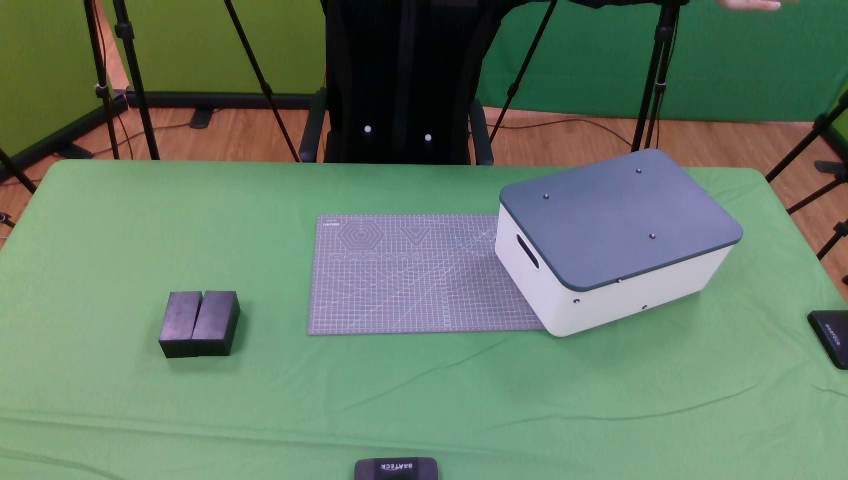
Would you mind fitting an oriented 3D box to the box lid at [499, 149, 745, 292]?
[{"bbox_3d":[0.341,-0.048,1.064,0.372,0.015,0.261,-15,49,-18],"label":"box lid"}]

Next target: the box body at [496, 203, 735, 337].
[{"bbox_3d":[0.340,0.003,1.118,0.364,0.161,0.252,-15,49,-18],"label":"box body"}]
